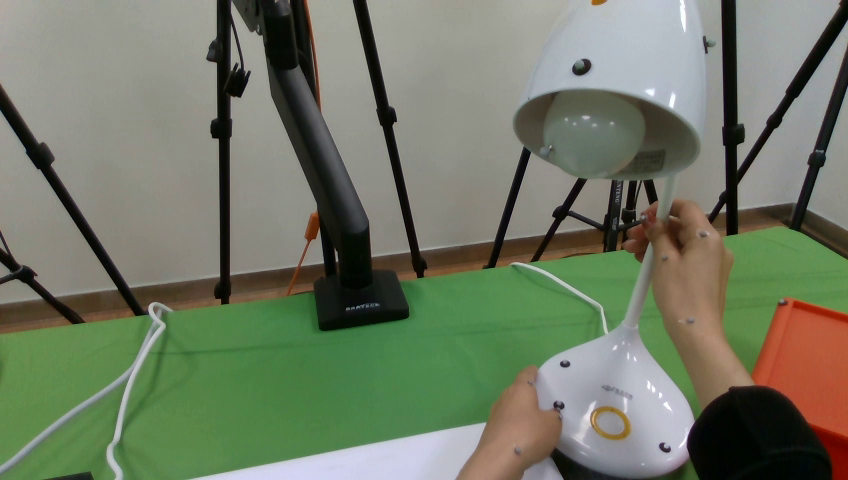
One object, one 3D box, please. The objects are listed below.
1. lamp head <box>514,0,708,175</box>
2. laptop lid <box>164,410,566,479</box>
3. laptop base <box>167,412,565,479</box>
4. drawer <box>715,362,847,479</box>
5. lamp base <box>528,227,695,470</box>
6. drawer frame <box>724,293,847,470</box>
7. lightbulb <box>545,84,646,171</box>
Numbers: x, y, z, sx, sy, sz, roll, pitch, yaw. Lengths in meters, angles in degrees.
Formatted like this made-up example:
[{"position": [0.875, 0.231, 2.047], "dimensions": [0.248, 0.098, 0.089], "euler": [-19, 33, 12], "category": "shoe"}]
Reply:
[{"position": [0.126, -0.113, 0.381], "dimensions": [0.112, 0.113, 0.122], "euler": [12, 70, 24], "category": "lamp head"}, {"position": [-0.039, 0.247, 0.476], "dimensions": [0.357, 0.013, 0.239], "euler": [-6, 30, -10], "category": "laptop lid"}, {"position": [-0.039, 0.256, 0.484], "dimensions": [0.355, 0.023, 0.233], "euler": [-7, 32, -11], "category": "laptop base"}, {"position": [0.363, 0.201, 0.510], "dimensions": [0.193, 0.074, 0.211], "euler": [16, 32, 31], "category": "drawer"}, {"position": [0.191, 0.087, 0.568], "dimensions": [0.160, 0.181, 0.178], "euler": [11, 28, 10], "category": "lamp base"}, {"position": [0.426, 0.156, 0.589], "dimensions": [0.200, 0.083, 0.213], "euler": [17, 32, 31], "category": "drawer frame"}, {"position": [0.112, -0.095, 0.373], "dimensions": [0.059, 0.107, 0.059], "euler": [18, -6, 2], "category": "lightbulb"}]
